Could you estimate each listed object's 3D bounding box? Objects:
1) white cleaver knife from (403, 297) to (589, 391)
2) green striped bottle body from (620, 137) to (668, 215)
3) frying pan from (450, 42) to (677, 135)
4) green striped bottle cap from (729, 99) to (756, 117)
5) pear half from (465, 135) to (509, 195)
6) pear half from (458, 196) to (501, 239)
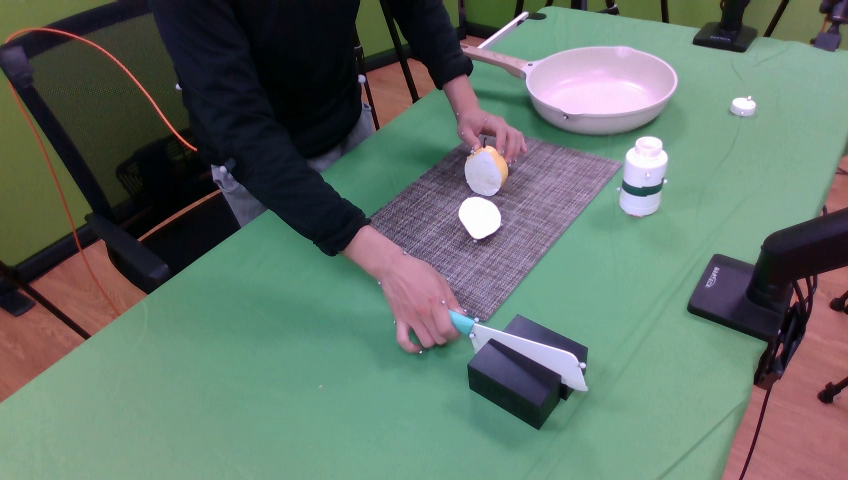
[{"bbox_3d":[0.077,0.130,0.767,0.284,0.066,0.021,15,41,42],"label":"white cleaver knife"},{"bbox_3d":[0.350,-0.103,0.963,0.063,0.120,0.063,-4,41,4],"label":"green striped bottle body"},{"bbox_3d":[0.268,-0.344,1.266,0.485,0.103,0.307,26,49,21],"label":"frying pan"},{"bbox_3d":[0.623,-0.259,1.182,0.044,0.020,0.044,-3,40,3],"label":"green striped bottle cap"},{"bbox_3d":[0.111,-0.137,1.039,0.076,0.110,0.056,16,45,18],"label":"pear half"},{"bbox_3d":[0.087,-0.030,0.975,0.070,0.031,0.088,14,55,0],"label":"pear half"}]
